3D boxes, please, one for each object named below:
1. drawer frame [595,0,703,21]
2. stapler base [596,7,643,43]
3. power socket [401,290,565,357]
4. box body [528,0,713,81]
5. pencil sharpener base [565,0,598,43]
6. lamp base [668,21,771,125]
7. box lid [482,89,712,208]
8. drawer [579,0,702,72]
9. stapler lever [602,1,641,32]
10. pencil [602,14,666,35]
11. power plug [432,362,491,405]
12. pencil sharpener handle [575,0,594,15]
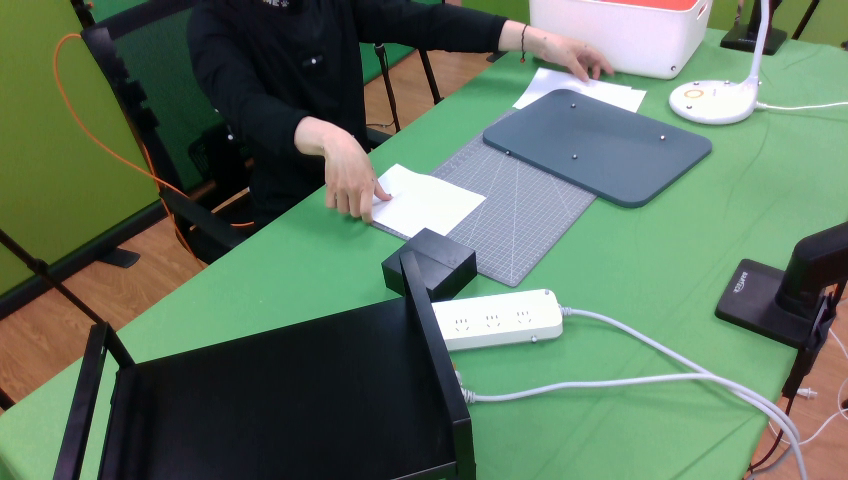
[{"bbox_3d":[0.487,-0.489,1.360,0.212,0.083,0.202,24,62,20],"label":"drawer frame"},{"bbox_3d":[0.452,-0.502,1.397,0.131,0.024,0.041,-39,63,-19],"label":"stapler base"},{"bbox_3d":[0.080,0.113,0.821,0.227,0.033,0.072,-7,41,0],"label":"power socket"},{"bbox_3d":[0.450,-0.512,1.398,0.361,0.161,0.254,19,48,28],"label":"box body"},{"bbox_3d":[0.388,-0.550,1.483,0.061,0.107,0.077,14,44,23],"label":"pencil sharpener base"},{"bbox_3d":[0.577,-0.333,1.155,0.179,0.181,0.160,6,42,12],"label":"lamp base"},{"bbox_3d":[0.320,-0.190,1.156,0.264,0.015,0.368,-33,47,-28],"label":"box lid"},{"bbox_3d":[0.484,-0.489,1.361,0.210,0.073,0.194,24,63,21],"label":"drawer"},{"bbox_3d":[0.451,-0.516,1.378,0.118,0.040,0.026,-39,63,-18],"label":"stapler lever"},{"bbox_3d":[0.483,-0.494,1.388,0.195,0.012,0.012,-22,42,-20],"label":"pencil"},{"bbox_3d":[0.045,0.182,0.758,0.073,0.035,0.052,21,43,-18],"label":"power plug"},{"bbox_3d":[0.401,-0.594,1.511,0.036,0.067,0.030,36,49,-1],"label":"pencil sharpener handle"}]
